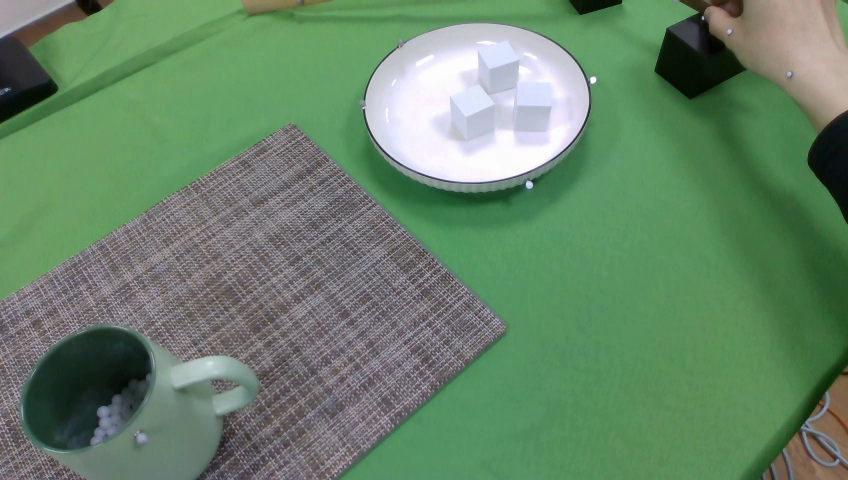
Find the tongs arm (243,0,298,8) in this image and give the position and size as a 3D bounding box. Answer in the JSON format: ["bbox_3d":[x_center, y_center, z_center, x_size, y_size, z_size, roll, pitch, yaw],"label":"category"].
[{"bbox_3d":[-0.017,-0.296,0.649,0.387,0.028,0.028,-7,51,11],"label":"tongs arm"}]

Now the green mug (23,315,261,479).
[{"bbox_3d":[-0.170,0.101,0.393,0.125,0.106,0.091,-17,57,-6],"label":"green mug"}]

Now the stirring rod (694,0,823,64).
[{"bbox_3d":[0.278,-0.207,0.548,0.006,0.014,0.174,-34,61,-19],"label":"stirring rod"}]

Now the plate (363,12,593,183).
[{"bbox_3d":[0.049,-0.133,0.567,0.207,0.039,0.205,-2,58,4],"label":"plate"}]
